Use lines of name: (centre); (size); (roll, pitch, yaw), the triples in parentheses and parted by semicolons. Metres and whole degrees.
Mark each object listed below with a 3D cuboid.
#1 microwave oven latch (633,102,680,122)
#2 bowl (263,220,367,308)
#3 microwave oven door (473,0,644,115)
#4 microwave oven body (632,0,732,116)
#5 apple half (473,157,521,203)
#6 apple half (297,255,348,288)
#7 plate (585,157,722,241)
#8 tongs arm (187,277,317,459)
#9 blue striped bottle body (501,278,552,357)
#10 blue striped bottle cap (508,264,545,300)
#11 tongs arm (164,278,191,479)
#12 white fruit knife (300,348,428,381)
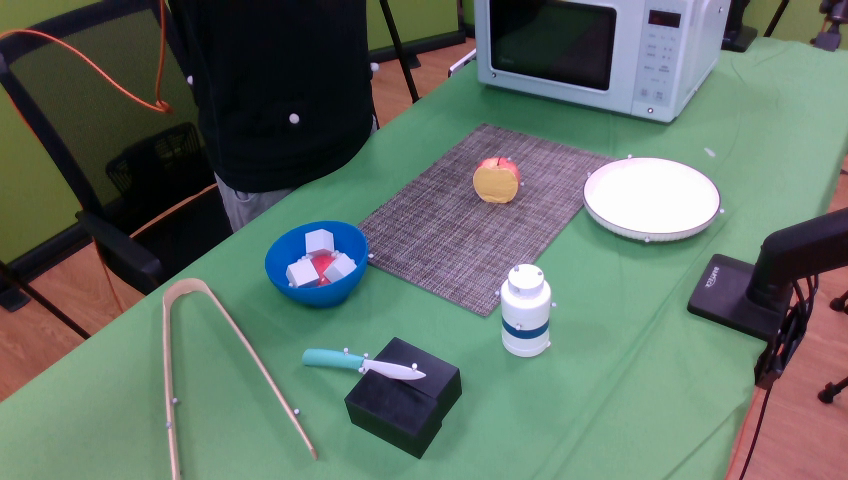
microwave oven latch: (0.444, -0.250, 1.157); (0.078, 0.029, 0.030); (21, 49, 30)
bowl: (-0.152, 0.047, 0.892); (0.151, 0.077, 0.150); (-4, 40, 4)
microwave oven door: (0.257, -0.396, 1.199); (0.353, 0.245, 0.039); (21, 48, 29)
microwave oven body: (0.377, -0.463, 1.267); (0.438, 0.261, 0.327); (21, 48, 30)
apple half: (0.128, -0.107, 1.030); (0.080, 0.075, 0.053); (4, 38, 19)
apple half: (-0.154, 0.044, 0.889); (0.081, 0.033, 0.081); (-2, 40, 2)
plate: (0.367, -0.063, 0.979); (0.207, 0.039, 0.206); (-4, 40, 4)
tongs arm: (-0.240, 0.154, 0.816); (0.028, 0.028, 0.384); (-31, 46, -21)
blue striped bottle body: (0.129, 0.089, 0.769); (0.063, 0.121, 0.063); (-4, 40, 4)
blue striped bottle cap: (0.125, 0.051, 0.735); (0.044, 0.021, 0.044); (-6, 38, 5)
tongs arm: (-0.313, 0.182, 0.789); (0.051, 0.026, 0.381); (-19, 41, -14)
white fruit knife: (-0.079, 0.154, 0.748); (0.206, 0.027, 0.016); (1, 21, 34)
